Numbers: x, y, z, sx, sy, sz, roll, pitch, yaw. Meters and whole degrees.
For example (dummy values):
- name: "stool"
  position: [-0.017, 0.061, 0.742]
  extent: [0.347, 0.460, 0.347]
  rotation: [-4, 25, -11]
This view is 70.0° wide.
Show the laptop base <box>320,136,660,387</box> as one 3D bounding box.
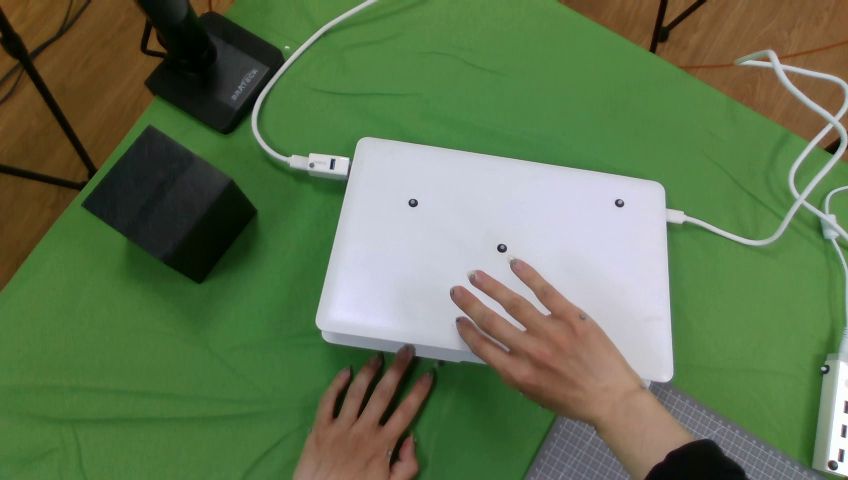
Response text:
- name: "laptop base"
  position: [0.079, 0.020, 0.669]
  extent: [0.354, 0.023, 0.234]
  rotation: [9, 78, 0]

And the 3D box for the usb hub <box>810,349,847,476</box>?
- name: "usb hub"
  position: [0.445, 0.182, 0.640]
  extent: [0.049, 0.025, 0.124]
  rotation: [16, 75, 3]

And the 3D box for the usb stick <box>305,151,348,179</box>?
- name: "usb stick"
  position: [-0.101, -0.083, 0.674]
  extent: [0.059, 0.027, 0.021]
  rotation: [8, 79, -5]

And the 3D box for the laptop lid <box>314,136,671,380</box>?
- name: "laptop lid"
  position: [0.080, 0.009, 0.634]
  extent: [0.357, 0.013, 0.240]
  rotation: [10, 64, 1]
